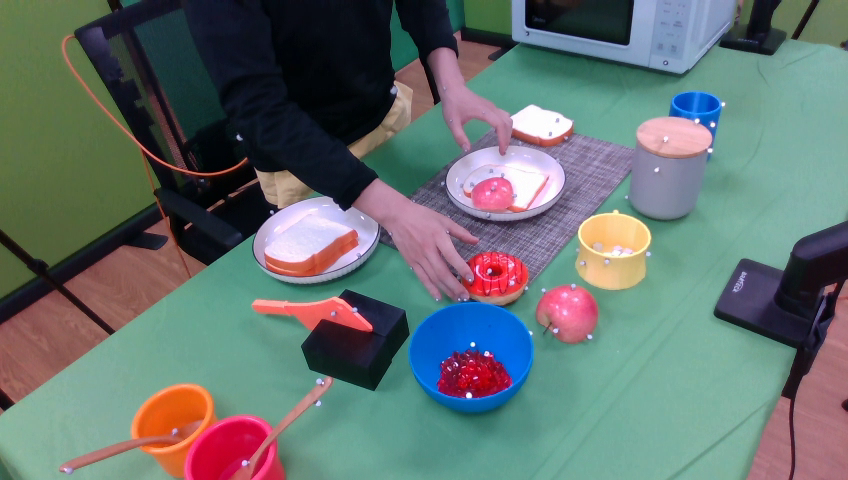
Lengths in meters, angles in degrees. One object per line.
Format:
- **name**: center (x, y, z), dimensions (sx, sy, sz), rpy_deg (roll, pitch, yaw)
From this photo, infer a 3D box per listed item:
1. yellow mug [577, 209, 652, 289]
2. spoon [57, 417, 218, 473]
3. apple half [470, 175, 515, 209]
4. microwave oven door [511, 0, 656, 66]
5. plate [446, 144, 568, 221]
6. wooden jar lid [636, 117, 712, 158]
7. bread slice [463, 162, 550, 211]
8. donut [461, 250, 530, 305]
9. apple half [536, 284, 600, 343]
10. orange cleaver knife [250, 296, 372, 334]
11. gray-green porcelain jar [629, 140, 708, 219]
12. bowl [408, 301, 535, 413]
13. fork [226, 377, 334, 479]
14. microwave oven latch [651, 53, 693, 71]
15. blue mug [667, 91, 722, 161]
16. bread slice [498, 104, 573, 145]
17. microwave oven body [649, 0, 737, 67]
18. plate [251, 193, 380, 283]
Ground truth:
- **yellow mug**: center (0.279, 0.004, 0.893), dimensions (0.099, 0.064, 0.130), rpy_deg (5, 41, 14)
- **spoon**: center (-0.304, 0.221, 0.661), dimensions (0.041, 0.195, 0.021), rpy_deg (19, 92, 27)
- **apple half**: center (0.114, -0.086, 1.004), dimensions (0.081, 0.033, 0.081), rpy_deg (-3, 42, 3)
- **microwave oven door**: center (0.351, -0.539, 1.348), dimensions (0.353, 0.245, 0.039), rpy_deg (24, 50, 31)
- **plate**: center (0.142, -0.096, 1.045), dimensions (0.207, 0.039, 0.206), rpy_deg (-4, 40, 4)
- **wooden jar lid**: center (0.377, -0.151, 0.917), dimensions (0.108, 0.021, 0.108), rpy_deg (-2, 42, 3)
- **bread slice**: center (0.136, -0.095, 1.044), dimensions (0.133, 0.018, 0.107), rpy_deg (13, 45, 25)
- **donut**: center (0.103, 0.053, 0.872), dimensions (0.099, 0.048, 0.098), rpy_deg (-5, 40, 5)
- **apple half**: center (0.196, 0.091, 0.815), dimensions (0.075, 0.053, 0.080), rpy_deg (-22, 42, -20)
- **orange cleaver knife**: center (-0.158, 0.103, 0.828), dimensions (0.210, 0.078, 0.012), rpy_deg (-4, 43, 39)
- **gray-green porcelain jar**: center (0.383, -0.105, 0.958), dimensions (0.106, 0.127, 0.105), rpy_deg (-4, 41, 4)
- **bowl**: center (0.059, 0.156, 0.739), dimensions (0.151, 0.077, 0.150), rpy_deg (-4, 40, 4)
- **fork**: center (-0.163, 0.216, 0.647), dimensions (0.207, 0.019, 0.028), rpy_deg (-49, 42, 16)
- **microwave oven latch**: center (0.532, -0.386, 1.301), dimensions (0.078, 0.029, 0.030), rpy_deg (27, 52, 34)
- **blue mug**: center (0.473, -0.207, 1.079), dimensions (0.082, 0.106, 0.116), rpy_deg (4, 42, 13)
- **bread slice**: center (0.231, -0.231, 1.205), dimensions (0.105, 0.019, 0.130), rpy_deg (-36, 47, -29)
- **microwave oven body**: center (0.475, -0.602, 1.411), dimensions (0.438, 0.261, 0.327), rpy_deg (23, 50, 32)
- **plate**: center (-0.173, -0.001, 0.985), dimensions (0.209, 0.038, 0.208), rpy_deg (-4, 41, 4)
